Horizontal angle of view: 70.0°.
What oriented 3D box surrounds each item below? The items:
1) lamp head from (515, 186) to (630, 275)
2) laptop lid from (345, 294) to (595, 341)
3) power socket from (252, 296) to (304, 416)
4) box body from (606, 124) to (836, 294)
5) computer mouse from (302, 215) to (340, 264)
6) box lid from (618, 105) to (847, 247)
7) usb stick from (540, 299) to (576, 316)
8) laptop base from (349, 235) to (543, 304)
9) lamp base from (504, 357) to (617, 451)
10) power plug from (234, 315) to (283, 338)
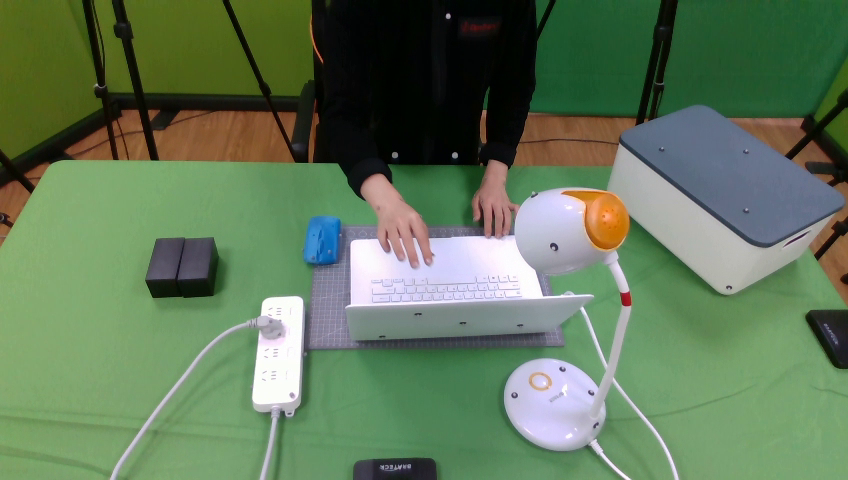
[{"bbox_3d":[0.188,-0.013,0.728,0.112,0.112,0.122,-25,9,-25],"label":"lamp head"},{"bbox_3d":[0.059,0.123,0.934,0.357,0.242,0.013,-1,69,-7],"label":"laptop lid"},{"bbox_3d":[-0.238,0.181,0.998,0.072,0.033,0.225,-3,47,-5],"label":"power socket"},{"bbox_3d":[0.584,-0.088,1.230,0.254,0.161,0.361,-22,52,-23],"label":"box body"},{"bbox_3d":[-0.198,-0.004,1.172,0.063,0.041,0.116,4,50,-3],"label":"computer mouse"},{"bbox_3d":[0.587,-0.138,1.175,0.263,0.015,0.369,-22,50,-22],"label":"box lid"},{"bbox_3d":[0.239,0.121,1.083,0.059,0.027,0.021,-1,51,-2],"label":"usb stick"},{"bbox_3d":[0.039,0.081,1.124,0.355,0.023,0.234,-2,43,-6],"label":"laptop base"},{"bbox_3d":[0.220,0.211,0.902,0.160,0.181,0.178,-32,59,-30],"label":"lamp base"},{"bbox_3d":[-0.269,0.143,1.000,0.072,0.053,0.035,5,47,3],"label":"power plug"}]
